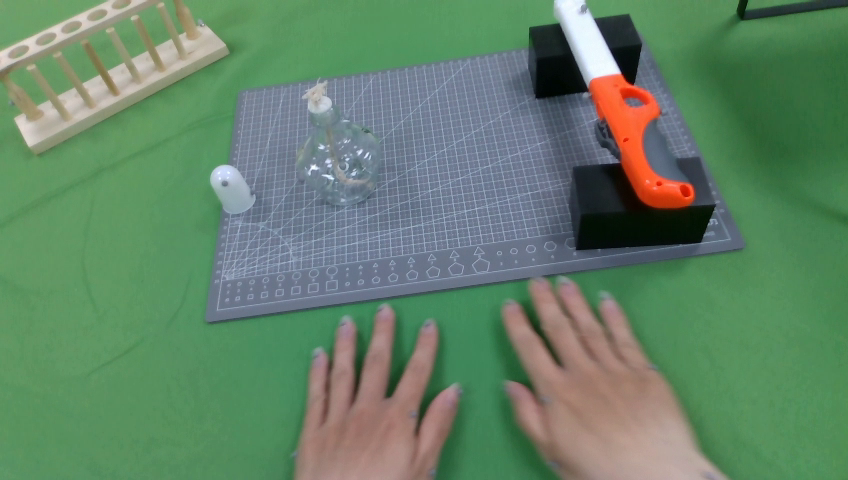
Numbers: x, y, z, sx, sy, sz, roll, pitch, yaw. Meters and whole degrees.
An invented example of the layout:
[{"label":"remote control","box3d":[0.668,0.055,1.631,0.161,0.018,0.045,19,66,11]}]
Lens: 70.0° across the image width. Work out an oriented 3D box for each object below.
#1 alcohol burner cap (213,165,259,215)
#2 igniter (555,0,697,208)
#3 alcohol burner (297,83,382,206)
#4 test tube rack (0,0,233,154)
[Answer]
[{"label":"alcohol burner cap","box3d":[-0.179,-0.050,0.568,0.034,0.048,0.033,-4,55,6]},{"label":"igniter","box3d":[0.165,-0.131,0.527,0.057,0.025,0.273,-11,52,2]},{"label":"alcohol burner","box3d":[-0.078,-0.087,0.536,0.078,0.120,0.077,-4,52,6]},{"label":"test tube rack","box3d":[-0.351,-0.203,0.680,0.242,0.086,0.066,-34,57,-16]}]
